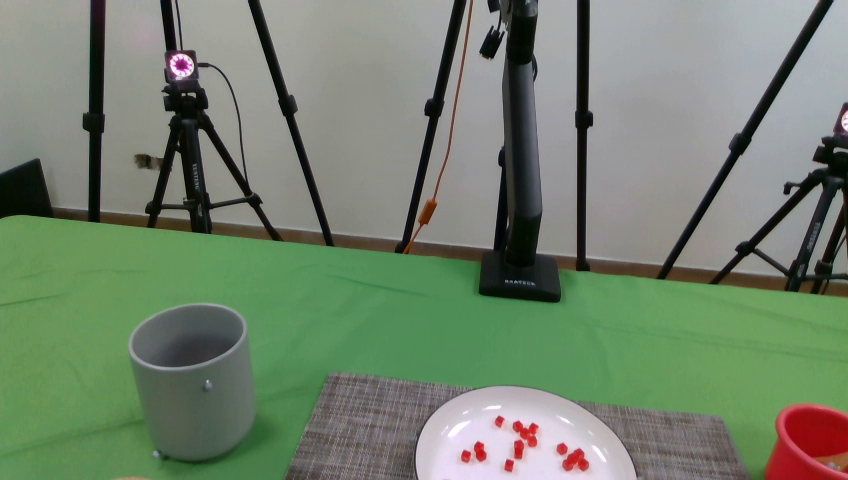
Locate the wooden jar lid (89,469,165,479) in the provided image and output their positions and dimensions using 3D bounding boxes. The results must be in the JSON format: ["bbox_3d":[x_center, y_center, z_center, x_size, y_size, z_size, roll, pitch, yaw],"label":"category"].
[{"bbox_3d":[-0.266,0.243,0.512,0.108,0.021,0.107,4,29,-2],"label":"wooden jar lid"}]

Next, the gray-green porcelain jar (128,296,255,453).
[{"bbox_3d":[-0.225,0.136,0.600,0.106,0.127,0.105,3,29,-1],"label":"gray-green porcelain jar"}]

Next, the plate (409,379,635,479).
[{"bbox_3d":[0.089,0.215,0.574,0.208,0.039,0.206,3,29,-1],"label":"plate"}]

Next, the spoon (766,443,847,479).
[{"bbox_3d":[0.415,0.186,0.558,0.194,0.022,0.041,-35,17,25],"label":"spoon"}]
